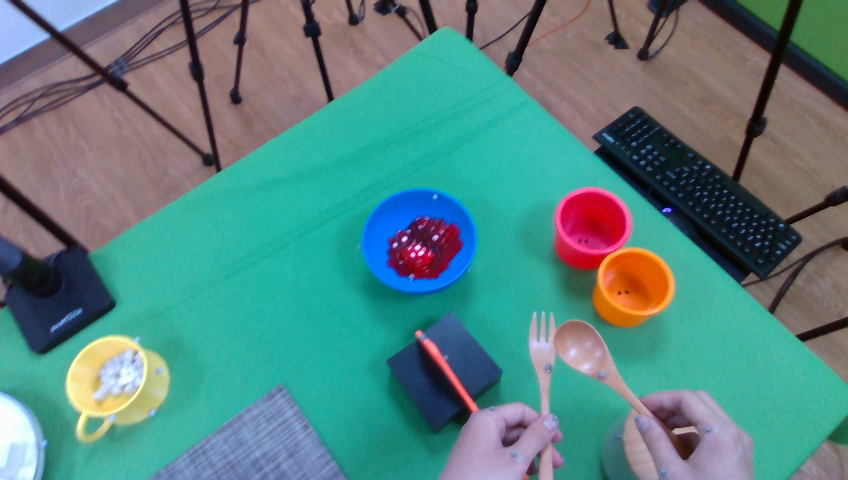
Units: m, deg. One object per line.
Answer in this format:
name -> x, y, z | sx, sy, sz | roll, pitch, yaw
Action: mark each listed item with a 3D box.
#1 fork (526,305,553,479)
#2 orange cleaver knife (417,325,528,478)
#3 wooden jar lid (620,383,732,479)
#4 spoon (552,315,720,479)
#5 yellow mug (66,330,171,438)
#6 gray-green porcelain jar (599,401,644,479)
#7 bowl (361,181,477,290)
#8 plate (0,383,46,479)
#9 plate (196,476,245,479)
fork -> 0.110, 0.152, 0.566 | 0.028, 0.019, 0.205 | 13, 52, -7
orange cleaver knife -> 0.055, 0.190, 0.724 | 0.012, 0.077, 0.211 | -35, 92, -8
wooden jar lid -> 0.254, 0.201, 0.615 | 0.108, 0.021, 0.107 | -2, 66, 5
spoon -> 0.188, 0.142, 0.540 | 0.041, 0.022, 0.193 | -43, 78, -4
yellow mug -> -0.387, 0.184, 0.755 | 0.099, 0.064, 0.130 | 18, 68, 11
gray-green porcelain jar -> 0.256, 0.228, 0.673 | 0.106, 0.127, 0.105 | -1, 65, 2
bowl -> -0.005, 0.005, 0.812 | 0.151, 0.077, 0.150 | -1, 66, 2
plate -> -0.560, 0.278, 0.736 | 0.207, 0.039, 0.206 | -1, 66, 2
plate -> -0.237, 0.374, 0.674 | 0.209, 0.038, 0.207 | -1, 66, 2
